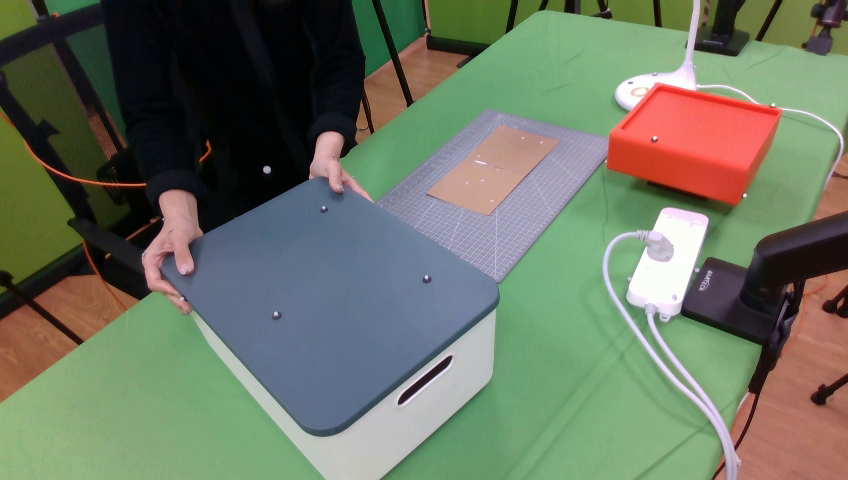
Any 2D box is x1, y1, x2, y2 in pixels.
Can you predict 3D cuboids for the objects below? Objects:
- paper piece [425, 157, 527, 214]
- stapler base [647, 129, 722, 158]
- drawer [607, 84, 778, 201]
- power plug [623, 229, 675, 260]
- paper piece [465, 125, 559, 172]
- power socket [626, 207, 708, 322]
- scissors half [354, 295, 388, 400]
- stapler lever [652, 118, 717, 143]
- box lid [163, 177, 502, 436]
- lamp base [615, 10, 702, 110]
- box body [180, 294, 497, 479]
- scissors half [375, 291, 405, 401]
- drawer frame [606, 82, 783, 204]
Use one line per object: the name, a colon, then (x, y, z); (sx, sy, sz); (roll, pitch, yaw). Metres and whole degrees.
paper piece: (0.095, -0.102, 1.089); (0.134, 0.004, 0.136); (22, 48, 30)
stapler base: (0.439, -0.167, 1.023); (0.131, 0.024, 0.041); (-17, 25, -15)
drawer: (0.438, -0.167, 0.995); (0.210, 0.073, 0.195); (23, 48, 30)
power plug: (0.327, 0.007, 0.878); (0.072, 0.053, 0.035); (25, 51, 33)
paper piece: (0.171, -0.177, 1.167); (0.137, 0.009, 0.136); (21, 44, 31)
power socket: (0.360, 0.026, 0.886); (0.072, 0.033, 0.227); (16, 46, 26)
scissors half: (-0.068, 0.143, 0.818); (0.040, 0.013, 0.174); (-21, 44, 2)
stapler lever: (0.436, -0.192, 1.014); (0.118, 0.040, 0.026); (-15, 24, -16)
box lid: (-0.121, 0.045, 0.717); (0.264, 0.015, 0.368); (-34, 47, -29)
lamp base: (0.484, -0.364, 1.211); (0.180, 0.181, 0.159); (-15, 41, -14)
box body: (-0.112, 0.101, 0.763); (0.255, 0.161, 0.361); (-34, 47, -28)
scissors half: (-0.048, 0.138, 0.816); (0.040, 0.013, 0.174); (-6, 46, 10)
drawer frame: (0.441, -0.167, 0.995); (0.212, 0.083, 0.202); (23, 48, 29)
